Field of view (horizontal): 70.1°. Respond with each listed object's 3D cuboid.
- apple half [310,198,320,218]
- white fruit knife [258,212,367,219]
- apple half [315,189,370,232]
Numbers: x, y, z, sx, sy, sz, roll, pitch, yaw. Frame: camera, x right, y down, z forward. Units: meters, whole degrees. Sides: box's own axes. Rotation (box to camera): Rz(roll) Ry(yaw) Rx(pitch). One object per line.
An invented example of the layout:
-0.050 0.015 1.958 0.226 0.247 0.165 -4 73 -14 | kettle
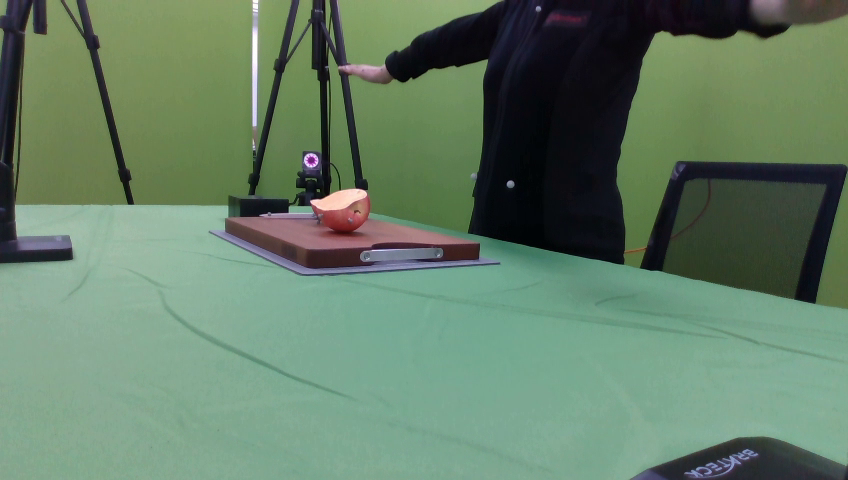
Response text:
-0.160 -0.044 1.036 0.081 0.033 0.081 16 15 -4 | apple half
-0.200 -0.046 1.112 0.208 0.016 0.027 -2 -20 -26 | white fruit knife
-0.123 -0.041 0.929 0.074 0.053 0.081 11 35 39 | apple half
